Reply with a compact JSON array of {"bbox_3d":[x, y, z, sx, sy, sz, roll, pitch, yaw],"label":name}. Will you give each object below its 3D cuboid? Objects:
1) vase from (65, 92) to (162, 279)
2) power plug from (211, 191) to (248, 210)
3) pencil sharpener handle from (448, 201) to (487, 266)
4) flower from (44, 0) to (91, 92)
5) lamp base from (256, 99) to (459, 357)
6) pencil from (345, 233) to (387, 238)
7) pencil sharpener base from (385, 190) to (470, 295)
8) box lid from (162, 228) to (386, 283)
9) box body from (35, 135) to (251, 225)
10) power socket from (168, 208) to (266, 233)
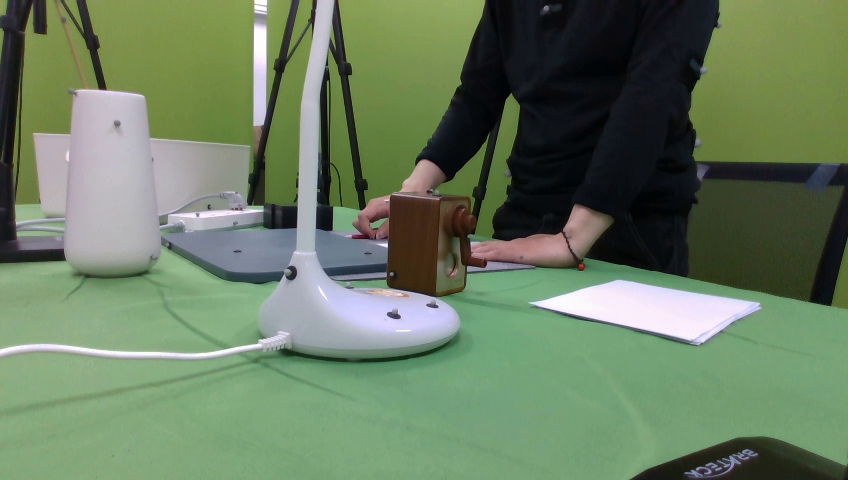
[{"bbox_3d":[-0.347,-0.060,0.673,0.098,0.200,0.098,1,7,0],"label":"vase"},{"bbox_3d":[-0.384,-0.071,1.205,0.072,0.052,0.035,1,8,28],"label":"power plug"},{"bbox_3d":[0.049,-0.006,0.623,0.030,0.068,0.036,8,22,37],"label":"pencil sharpener handle"},{"bbox_3d":[-0.361,-0.142,0.663,0.044,0.361,0.038,-12,11,30],"label":"flower"},{"bbox_3d":[-0.055,-0.013,0.463,0.160,0.180,0.180,6,11,27],"label":"lamp base"},{"bbox_3d":[-0.054,-0.010,1.080,0.195,0.012,0.012,-3,9,-24],"label":"pencil"},{"bbox_3d":[0.006,0.001,0.653,0.076,0.107,0.061,8,9,37],"label":"pencil sharpener base"},{"bbox_3d":[-0.200,0.014,0.861,0.265,0.015,0.369,-4,10,-35],"label":"box lid"},{"bbox_3d":[-0.559,-0.127,1.257,0.253,0.160,0.365,4,8,15],"label":"box body"},{"bbox_3d":[-0.379,-0.038,1.129,0.072,0.032,0.227,4,8,18],"label":"power socket"}]
